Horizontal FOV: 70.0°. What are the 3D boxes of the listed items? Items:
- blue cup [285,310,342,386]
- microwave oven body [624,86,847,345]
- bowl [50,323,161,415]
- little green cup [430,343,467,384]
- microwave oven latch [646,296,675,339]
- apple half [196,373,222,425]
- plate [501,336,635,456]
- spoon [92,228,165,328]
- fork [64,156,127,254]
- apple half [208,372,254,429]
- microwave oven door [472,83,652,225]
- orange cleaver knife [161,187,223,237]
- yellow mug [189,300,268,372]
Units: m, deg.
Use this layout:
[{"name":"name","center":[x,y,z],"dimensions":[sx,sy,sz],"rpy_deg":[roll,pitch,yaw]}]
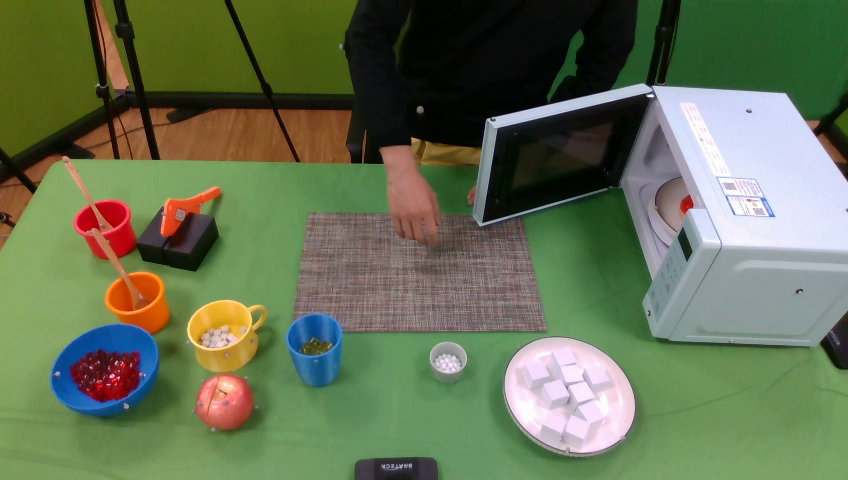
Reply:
[{"name":"blue cup","center":[-0.170,0.179,0.958],"dimensions":[0.093,0.101,0.092],"rpy_deg":[1,44,-1]},{"name":"microwave oven body","center":[0.567,-0.053,1.118],"dimensions":[0.326,0.261,0.439],"rpy_deg":[2,45,-1]},{"name":"bowl","center":[-0.472,0.209,0.924],"dimensions":[0.151,0.077,0.150],"rpy_deg":[2,45,-2]},{"name":"little green cup","center":[0.038,0.203,0.994],"dimensions":[0.061,0.039,0.061],"rpy_deg":[2,46,-2]},{"name":"microwave oven latch","center":[0.412,0.134,1.061],"dimensions":[0.030,0.029,0.078],"rpy_deg":[4,45,1]},{"name":"apple half","center":[-0.322,0.240,0.907],"dimensions":[0.033,0.081,0.081],"rpy_deg":[7,46,0]},{"name":"plate","center":[0.225,0.248,0.963],"dimensions":[0.208,0.039,0.206],"rpy_deg":[2,46,-2]},{"name":"spoon","center":[-0.496,0.063,1.014],"dimensions":[0.041,0.194,0.021],"rpy_deg":[-33,12,-31]},{"name":"fork","center":[-0.614,-0.064,1.130],"dimensions":[0.028,0.018,0.207],"rpy_deg":[-29,97,-16]},{"name":"apple half","center":[-0.282,0.244,0.908],"dimensions":[0.053,0.075,0.080],"rpy_deg":[7,43,-1]},{"name":"microwave oven door","center":[0.272,-0.171,1.204],"dimensions":[0.356,0.245,0.039],"rpy_deg":[-16,49,-18]},{"name":"orange cleaver knife","center":[-0.448,-0.058,1.180],"dimensions":[0.012,0.077,0.211],"rpy_deg":[13,17,6]},{"name":"yellow mug","center":[-0.315,0.149,1.001],"dimensions":[0.131,0.064,0.099],"rpy_deg":[-33,55,-31]}]
